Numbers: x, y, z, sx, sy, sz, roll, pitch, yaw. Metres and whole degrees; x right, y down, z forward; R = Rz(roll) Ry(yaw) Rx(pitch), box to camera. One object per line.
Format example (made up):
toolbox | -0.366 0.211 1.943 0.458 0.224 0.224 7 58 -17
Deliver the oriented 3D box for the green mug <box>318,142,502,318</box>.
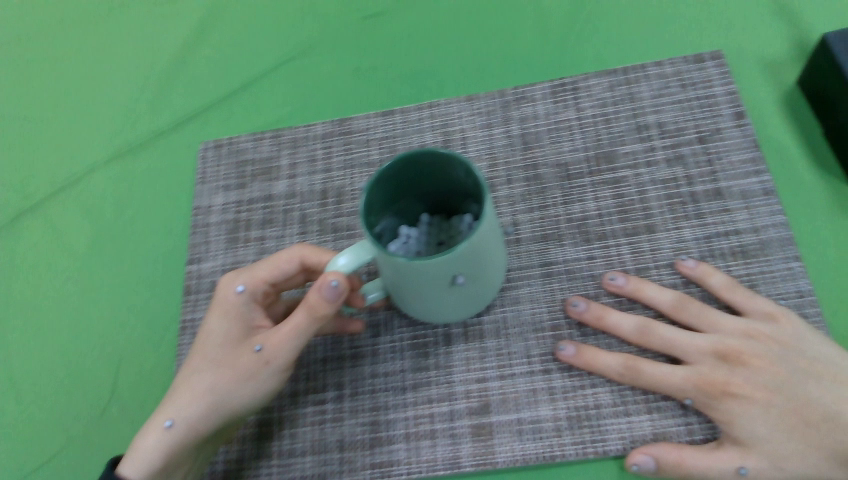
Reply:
green mug | -0.010 0.005 0.402 0.125 0.106 0.091 -30 64 -4
